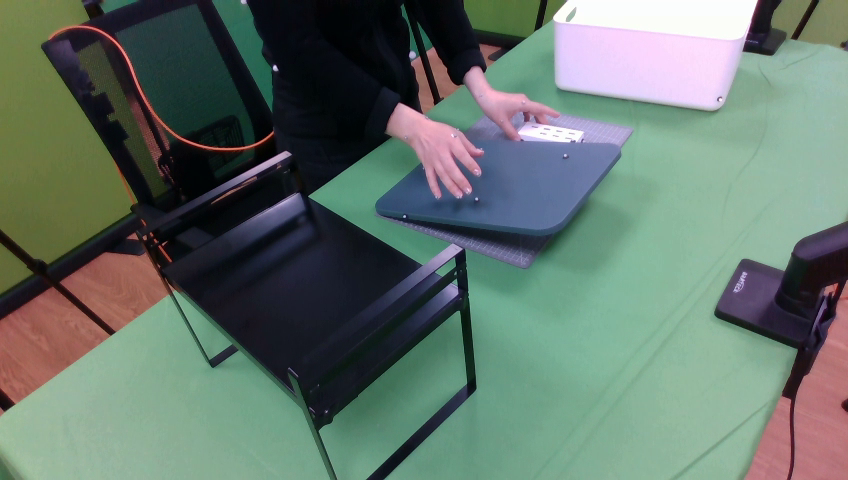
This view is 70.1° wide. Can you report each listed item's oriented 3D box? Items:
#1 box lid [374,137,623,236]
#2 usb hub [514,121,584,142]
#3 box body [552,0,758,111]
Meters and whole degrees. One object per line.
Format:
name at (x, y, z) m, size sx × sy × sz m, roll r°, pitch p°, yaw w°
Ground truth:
box lid at (0.116, -0.104, 1.023) m, size 0.368 × 0.015 × 0.264 m, roll 10°, pitch 41°, yaw 38°
usb hub at (0.241, -0.200, 1.166) m, size 0.124 × 0.025 × 0.049 m, roll 17°, pitch 47°, yaw 26°
box body at (0.480, -0.417, 1.282) m, size 0.362 × 0.161 × 0.254 m, roll 16°, pitch 46°, yaw 25°
